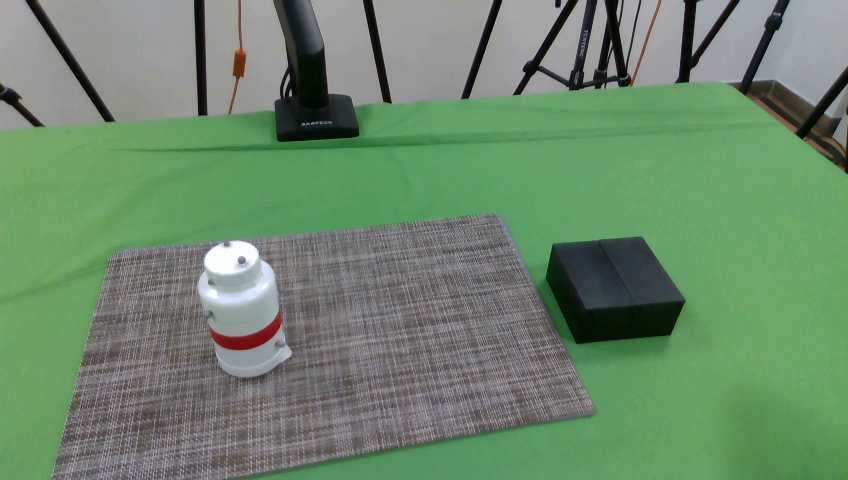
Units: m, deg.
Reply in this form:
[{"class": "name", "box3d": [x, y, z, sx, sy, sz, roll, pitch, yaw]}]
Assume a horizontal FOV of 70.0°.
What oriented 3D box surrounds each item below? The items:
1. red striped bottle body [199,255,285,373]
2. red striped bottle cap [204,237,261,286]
[{"class": "red striped bottle body", "box3d": [-0.161, 0.058, 0.537, 0.063, 0.121, 0.062, 2, 40, -1]}, {"class": "red striped bottle cap", "box3d": [-0.159, 0.017, 0.503, 0.044, 0.018, 0.044, 4, 39, -3]}]
